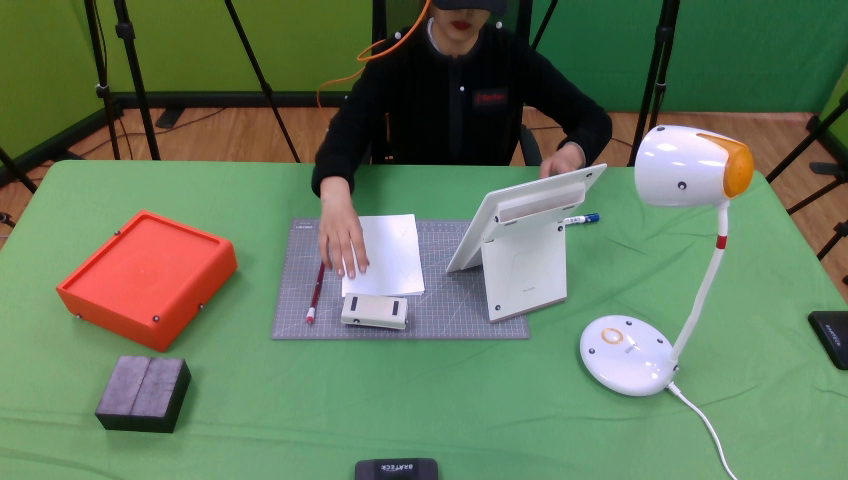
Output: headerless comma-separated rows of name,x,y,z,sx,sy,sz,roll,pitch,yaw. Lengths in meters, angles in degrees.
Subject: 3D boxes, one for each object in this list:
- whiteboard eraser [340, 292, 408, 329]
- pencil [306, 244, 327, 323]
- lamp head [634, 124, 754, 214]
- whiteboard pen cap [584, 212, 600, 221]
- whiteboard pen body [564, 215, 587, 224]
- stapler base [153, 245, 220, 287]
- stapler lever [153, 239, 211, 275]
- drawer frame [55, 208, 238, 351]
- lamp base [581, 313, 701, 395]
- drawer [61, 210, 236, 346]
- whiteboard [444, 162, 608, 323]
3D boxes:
whiteboard eraser,-0.087,0.125,1.052,0.113,0.042,0.055,5,45,1
pencil,-0.196,0.076,1.115,0.012,0.012,0.193,4,44,0
lamp head,0.351,-0.089,0.775,0.112,0.113,0.122,-30,30,-28
whiteboard pen cap,0.351,-0.048,1.271,0.033,0.018,0.018,-6,47,-11
whiteboard pen body,0.292,-0.040,1.261,0.141,0.017,0.017,-7,47,-11
stapler base,-0.436,0.042,1.108,0.130,0.024,0.041,23,50,15
stapler lever,-0.436,0.027,1.090,0.118,0.040,0.027,25,51,14
drawer frame,-0.474,0.062,1.059,0.201,0.083,0.213,18,48,12
lamp base,0.361,0.144,0.973,0.178,0.181,0.160,34,53,23
drawer,-0.474,0.061,1.063,0.194,0.073,0.211,19,49,13
whiteboard,0.186,0.026,1.028,0.217,0.306,0.143,-14,68,-17
